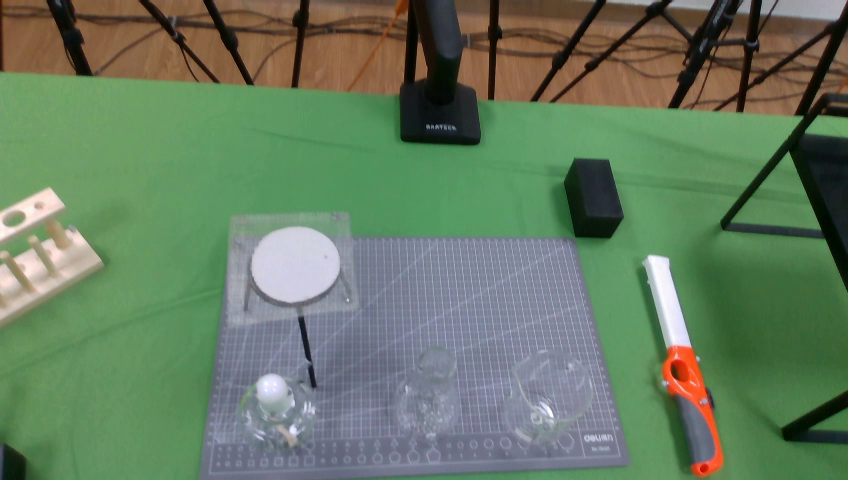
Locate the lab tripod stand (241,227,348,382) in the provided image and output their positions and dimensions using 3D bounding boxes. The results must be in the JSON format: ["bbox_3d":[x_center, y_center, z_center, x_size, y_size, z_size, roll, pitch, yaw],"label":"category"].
[{"bbox_3d":[-0.135,0.062,0.652,0.149,0.132,0.147,5,56,-6],"label":"lab tripod stand"}]

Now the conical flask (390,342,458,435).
[{"bbox_3d":[0.005,0.146,0.620,0.075,0.123,0.074,3,55,-5],"label":"conical flask"}]

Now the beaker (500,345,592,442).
[{"bbox_3d":[0.121,0.164,0.637,0.084,0.101,0.073,20,55,8],"label":"beaker"}]

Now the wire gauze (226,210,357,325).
[{"bbox_3d":[-0.132,0.021,0.598,0.122,0.011,0.124,-4,58,-11],"label":"wire gauze"}]

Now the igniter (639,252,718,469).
[{"bbox_3d":[0.303,0.134,0.729,0.057,0.025,0.274,9,55,-14],"label":"igniter"}]

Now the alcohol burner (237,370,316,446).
[{"bbox_3d":[-0.146,0.159,0.597,0.078,0.120,0.077,5,54,-6],"label":"alcohol burner"}]

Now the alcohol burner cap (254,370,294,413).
[{"bbox_3d":[-0.142,0.140,0.566,0.034,0.048,0.033,2,60,-2],"label":"alcohol burner cap"}]

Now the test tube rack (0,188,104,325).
[{"bbox_3d":[-0.487,0.049,0.646,0.242,0.086,0.066,-37,67,-27],"label":"test tube rack"}]
